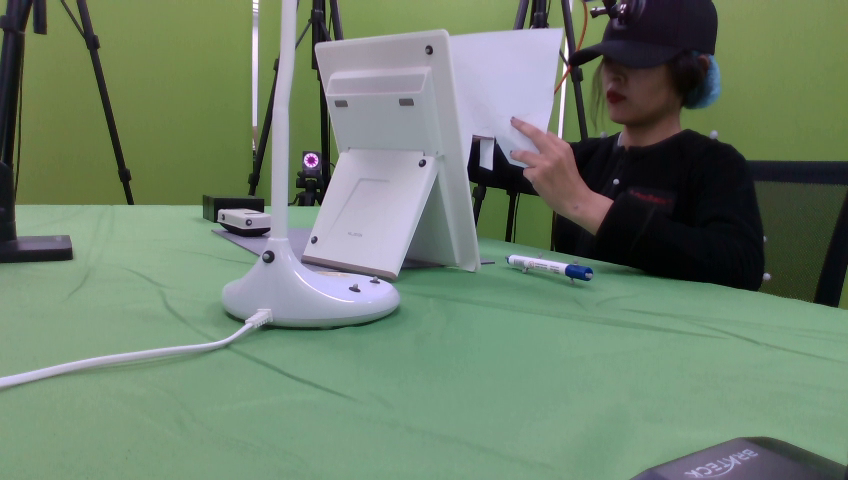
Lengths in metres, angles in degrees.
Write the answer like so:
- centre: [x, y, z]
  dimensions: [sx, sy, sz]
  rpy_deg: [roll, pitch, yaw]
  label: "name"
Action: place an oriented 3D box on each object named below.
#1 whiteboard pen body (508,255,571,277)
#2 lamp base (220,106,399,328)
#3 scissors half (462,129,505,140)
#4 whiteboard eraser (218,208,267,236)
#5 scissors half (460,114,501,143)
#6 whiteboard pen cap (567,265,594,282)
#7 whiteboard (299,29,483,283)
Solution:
- centre: [0.155, 0.034, 0.772]
  dimensions: [0.017, 0.017, 0.140]
  rpy_deg: [-2, 6, -31]
  label: "whiteboard pen body"
- centre: [-0.102, -0.023, 0.531]
  dimensions: [0.160, 0.180, 0.179]
  rpy_deg: [4, 10, 10]
  label: "lamp base"
- centre: [0.071, -0.176, 1.026]
  dimensions: [0.174, 0.013, 0.040]
  rpy_deg: [14, 54, 47]
  label: "scissors half"
- centre: [-0.309, -0.031, 1.044]
  dimensions: [0.056, 0.042, 0.112]
  rpy_deg: [-2, 9, -40]
  label: "whiteboard eraser"
- centre: [0.088, -0.189, 1.031]
  dimensions: [0.040, 0.013, 0.174]
  rpy_deg: [-30, 32, -6]
  label: "scissors half"
- centre: [0.185, 0.040, 0.722]
  dimensions: [0.018, 0.018, 0.033]
  rpy_deg: [-3, 6, -33]
  label: "whiteboard pen cap"
- centre: [-0.074, -0.082, 0.742]
  dimensions: [0.216, 0.305, 0.144]
  rpy_deg: [9, 29, 38]
  label: "whiteboard"
